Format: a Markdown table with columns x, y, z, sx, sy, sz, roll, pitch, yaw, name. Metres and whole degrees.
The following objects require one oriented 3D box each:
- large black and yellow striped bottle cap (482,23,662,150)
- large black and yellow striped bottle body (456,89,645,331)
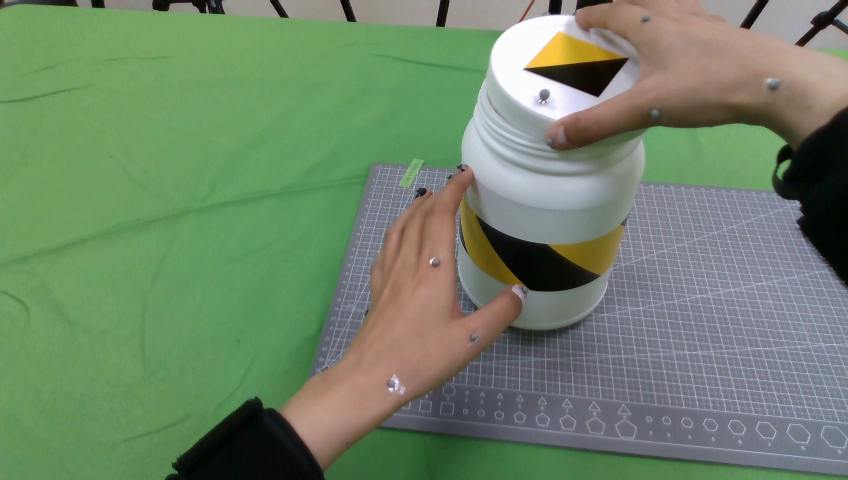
| x | y | z | sx | sy | sz | roll | pitch | yaw | name |
| --- | --- | --- | --- | --- | --- | --- | --- | --- | --- |
| 0.096 | -0.103 | 0.394 | 0.115 | 0.019 | 0.114 | 2 | 51 | -2 | large black and yellow striped bottle cap |
| 0.092 | -0.032 | 0.468 | 0.131 | 0.185 | 0.129 | 0 | 46 | 0 | large black and yellow striped bottle body |
